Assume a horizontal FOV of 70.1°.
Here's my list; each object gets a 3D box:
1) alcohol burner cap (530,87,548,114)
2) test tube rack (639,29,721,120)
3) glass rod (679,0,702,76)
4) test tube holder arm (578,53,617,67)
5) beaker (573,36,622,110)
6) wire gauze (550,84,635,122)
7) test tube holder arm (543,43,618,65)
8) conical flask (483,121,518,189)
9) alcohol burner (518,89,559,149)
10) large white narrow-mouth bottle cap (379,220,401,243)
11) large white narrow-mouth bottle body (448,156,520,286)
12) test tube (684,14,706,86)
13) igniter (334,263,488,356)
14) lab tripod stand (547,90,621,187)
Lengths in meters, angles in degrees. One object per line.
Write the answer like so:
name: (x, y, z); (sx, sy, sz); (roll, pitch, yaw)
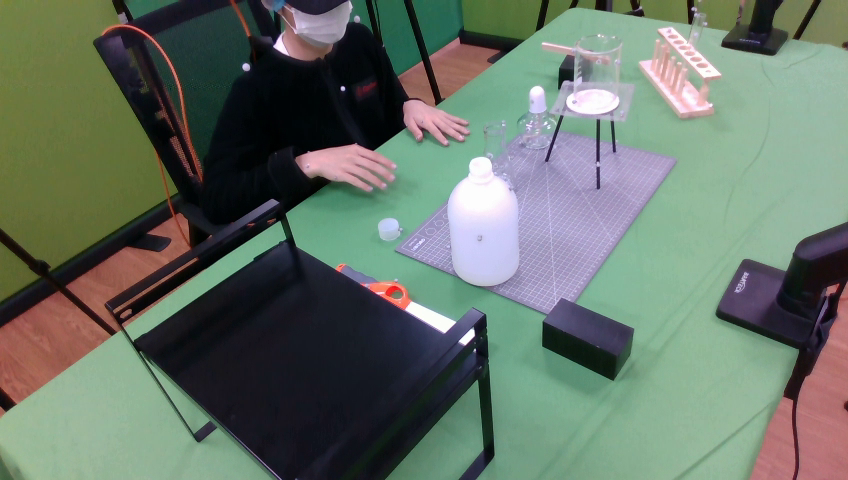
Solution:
alcohol burner cap: (0.212, -0.262, 1.126); (0.034, 0.048, 0.033); (-8, 36, 7)
test tube rack: (0.527, -0.351, 1.262); (0.067, 0.085, 0.241); (-7, 40, 1)
glass rod: (0.543, -0.417, 1.233); (0.008, 0.200, 0.008); (1, 39, 0)
test tube holder arm: (0.376, -0.393, 1.314); (0.087, 0.015, 0.010); (26, 50, 32)
beaker: (0.283, -0.273, 0.990); (0.073, 0.101, 0.084); (16, 46, 28)
wire gauze: (0.285, -0.234, 1.021); (0.124, 0.011, 0.121); (8, 41, 23)
test tube holder arm: (0.345, -0.413, 1.341); (0.177, 0.015, 0.013); (25, 49, 32)
conical flask: (0.126, -0.145, 1.051); (0.075, 0.122, 0.075); (-5, 41, 4)
alcohol burner: (0.218, -0.235, 1.149); (0.078, 0.119, 0.077); (-5, 43, 5)
large white narrow-mouth bottle cap: (-0.057, -0.015, 1.012); (0.038, 0.024, 0.037); (-4, 40, 4)
large white narrow-mouth bottle body: (0.086, -0.032, 0.869); (0.102, 0.195, 0.101); (-4, 40, 4)
test tube: (0.540, -0.378, 1.215); (0.017, 0.151, 0.017); (-2, 44, 3)
igniter: (-0.030, 0.095, 0.872); (0.274, 0.025, 0.057); (23, 59, 31)
lab tripod stand: (0.289, -0.184, 1.062); (0.148, 0.132, 0.147); (-6, 41, 6)
